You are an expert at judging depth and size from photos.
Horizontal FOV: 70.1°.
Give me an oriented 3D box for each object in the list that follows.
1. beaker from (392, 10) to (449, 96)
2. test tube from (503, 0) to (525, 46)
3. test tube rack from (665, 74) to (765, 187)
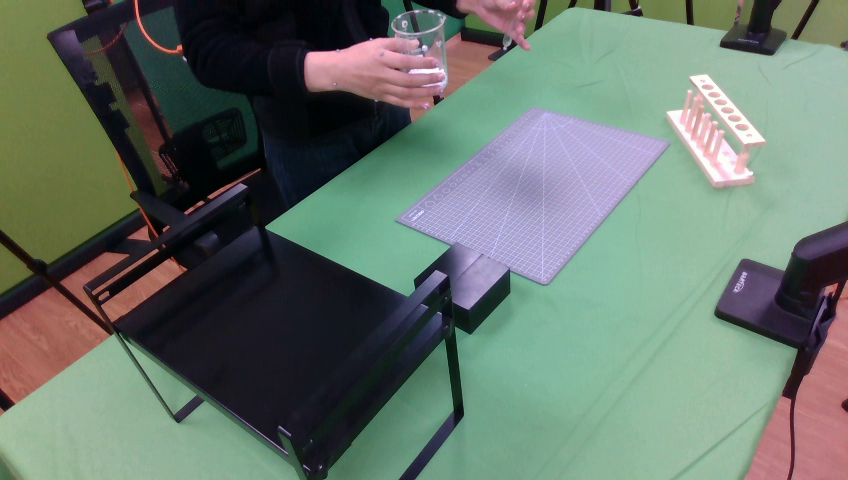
[{"bbox_3d":[0.000,-0.269,0.875,0.084,0.101,0.073,-25,47,-18],"label":"beaker"},{"bbox_3d":[0.157,-0.390,1.003,0.017,0.150,0.017,7,47,-7],"label":"test tube"},{"bbox_3d":[0.512,-0.201,1.082,0.067,0.085,0.241,-6,41,2],"label":"test tube rack"}]
